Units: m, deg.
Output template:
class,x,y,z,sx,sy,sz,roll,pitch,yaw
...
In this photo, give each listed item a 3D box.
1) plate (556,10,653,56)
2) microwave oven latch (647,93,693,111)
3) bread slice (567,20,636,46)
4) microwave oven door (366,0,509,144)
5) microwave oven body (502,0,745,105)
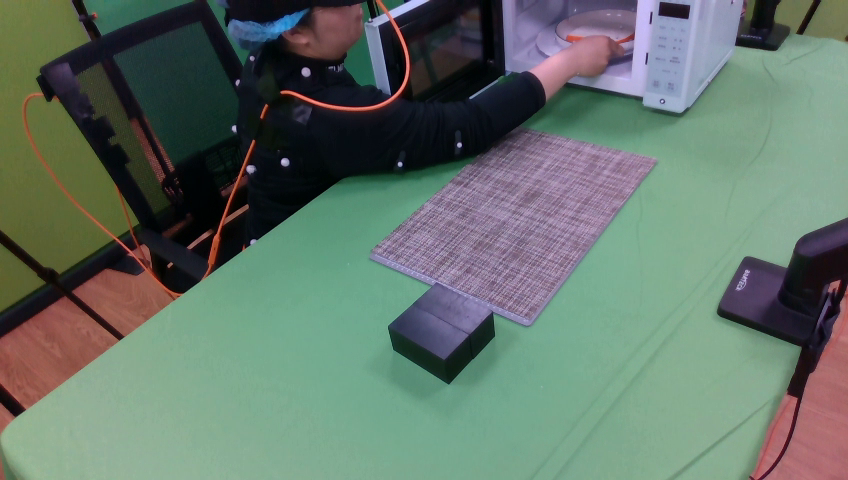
class,x,y,z,sx,sy,sz,roll,pitch,yaw
plate,0.397,-0.453,1.333,0.209,0.038,0.208,-6,38,5
microwave oven latch,0.477,-0.273,1.177,0.078,0.029,0.030,22,50,33
bread slice,0.399,-0.453,1.336,0.130,0.019,0.105,27,53,38
microwave oven door,0.043,-0.384,1.235,0.039,0.245,0.357,28,53,36
microwave oven body,0.416,-0.486,1.290,0.438,0.261,0.327,21,50,33
